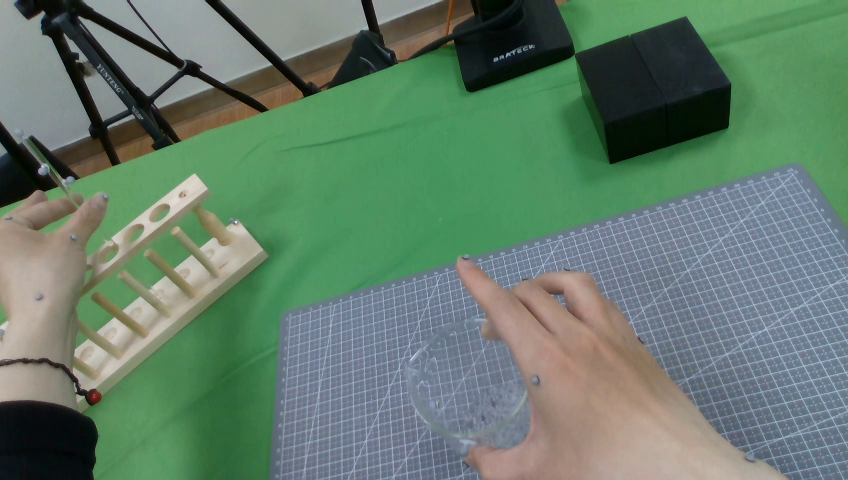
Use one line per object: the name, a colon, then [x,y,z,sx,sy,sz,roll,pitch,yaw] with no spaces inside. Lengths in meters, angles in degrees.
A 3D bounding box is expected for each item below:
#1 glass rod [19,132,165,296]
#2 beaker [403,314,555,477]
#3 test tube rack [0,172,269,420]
glass rod: [-0.290,-0.014,0.543,0.008,0.202,0.008,-11,43,11]
beaker: [0.039,0.103,0.386,0.083,0.101,0.073,3,56,26]
test tube rack: [-0.278,0.052,0.576,0.242,0.086,0.066,-41,50,-10]
